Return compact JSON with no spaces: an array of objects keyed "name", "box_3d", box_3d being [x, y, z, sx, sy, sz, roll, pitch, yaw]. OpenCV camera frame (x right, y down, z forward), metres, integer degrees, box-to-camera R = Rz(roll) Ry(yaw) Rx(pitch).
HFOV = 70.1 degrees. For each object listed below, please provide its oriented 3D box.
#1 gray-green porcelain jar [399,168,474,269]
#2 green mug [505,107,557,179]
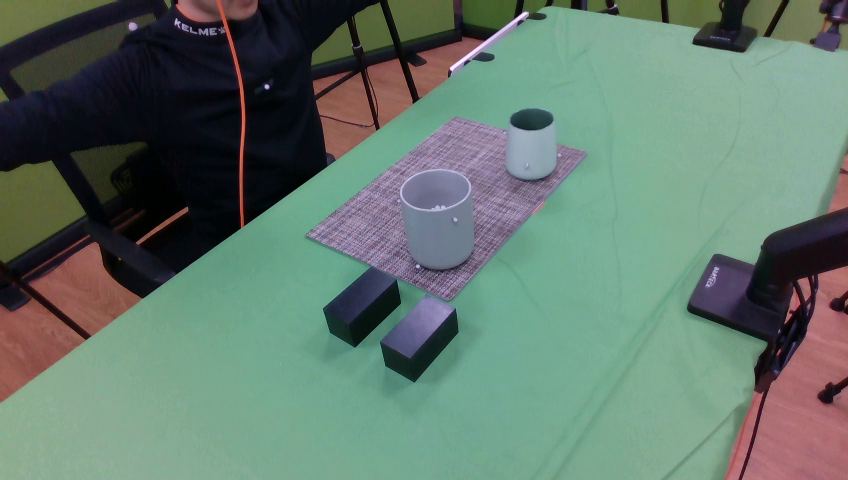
[{"name":"gray-green porcelain jar","box_3d":[0.022,-0.027,0.911,0.106,0.127,0.105,-4,41,4]},{"name":"green mug","box_3d":[0.189,-0.180,1.082,0.092,0.105,0.124,-6,41,2]}]
